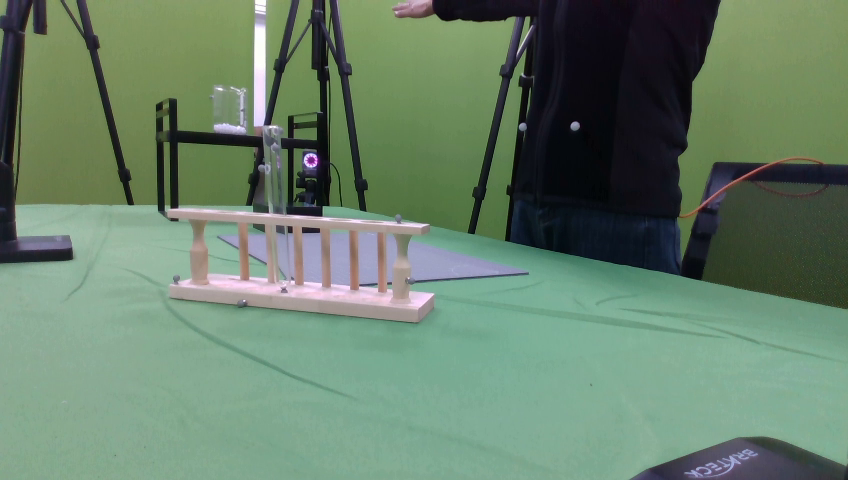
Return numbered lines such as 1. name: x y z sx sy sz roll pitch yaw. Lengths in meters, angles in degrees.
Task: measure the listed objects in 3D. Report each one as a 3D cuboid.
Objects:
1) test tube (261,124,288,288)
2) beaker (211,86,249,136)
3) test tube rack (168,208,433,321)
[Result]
1. test tube: -0.137 -0.030 0.555 0.017 0.150 0.017 -2 9 1
2. beaker: -0.413 -0.274 1.297 0.074 0.100 0.083 -5 11 -44
3. test tube rack: -0.115 0.017 0.574 0.242 0.085 0.067 4 8 13
